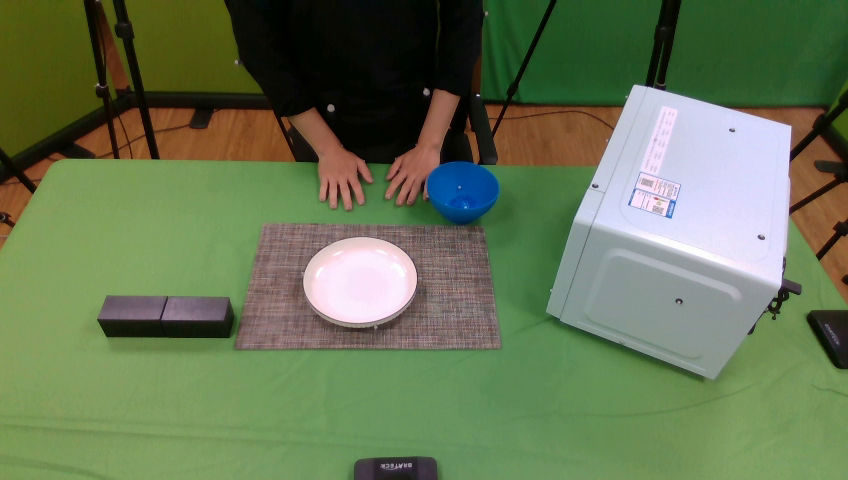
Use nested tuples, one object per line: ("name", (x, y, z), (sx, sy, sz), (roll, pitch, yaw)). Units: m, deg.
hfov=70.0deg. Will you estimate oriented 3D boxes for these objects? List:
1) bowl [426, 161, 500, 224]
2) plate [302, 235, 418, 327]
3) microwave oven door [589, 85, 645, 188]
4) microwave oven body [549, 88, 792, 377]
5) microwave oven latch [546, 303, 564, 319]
("bowl", (0.077, -0.086, 1.248), (0.151, 0.077, 0.150), (2, 46, -2))
("plate", (-0.114, 0.077, 1.098), (0.208, 0.039, 0.206), (2, 46, -2))
("microwave oven door", (0.342, -0.107, 1.149), (0.039, 0.245, 0.354), (20, 48, 15))
("microwave oven body", (0.456, -0.028, 1.088), (0.325, 0.261, 0.440), (20, 47, 16))
("microwave oven latch", (0.242, 0.102, 1.081), (0.030, 0.029, 0.079), (21, 48, 17))
